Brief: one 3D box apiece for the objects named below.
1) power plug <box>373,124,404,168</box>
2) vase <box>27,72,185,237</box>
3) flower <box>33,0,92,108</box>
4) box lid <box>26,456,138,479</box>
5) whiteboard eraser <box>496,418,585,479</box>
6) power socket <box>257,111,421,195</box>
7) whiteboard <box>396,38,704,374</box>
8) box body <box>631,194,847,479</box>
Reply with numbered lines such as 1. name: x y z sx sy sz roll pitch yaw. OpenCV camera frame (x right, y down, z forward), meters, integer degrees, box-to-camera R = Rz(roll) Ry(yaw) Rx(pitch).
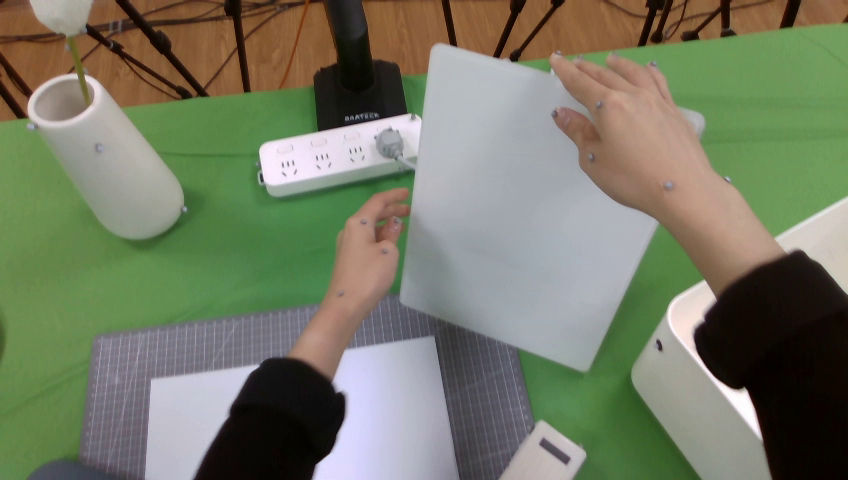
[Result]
1. power plug: -0.043 -0.108 0.735 0.035 0.053 0.072 -3 66 -1
2. vase: -0.338 -0.086 0.656 0.098 0.201 0.097 -1 60 2
3. flower: -0.319 -0.123 0.583 0.038 0.363 0.044 40 58 2
4. box lid: -0.238 0.358 0.510 0.370 0.015 0.261 15 62 9
5. whiteboard eraser: 0.097 0.225 0.561 0.055 0.042 0.112 33 66 19
6. power socket: -0.099 -0.110 0.764 0.227 0.033 0.071 -12 62 -7
7. whiteboard: 0.112 -0.048 0.604 0.216 0.308 0.143 20 42 13
8. box body: 0.389 0.174 0.520 0.254 0.162 0.360 -27 63 -14
